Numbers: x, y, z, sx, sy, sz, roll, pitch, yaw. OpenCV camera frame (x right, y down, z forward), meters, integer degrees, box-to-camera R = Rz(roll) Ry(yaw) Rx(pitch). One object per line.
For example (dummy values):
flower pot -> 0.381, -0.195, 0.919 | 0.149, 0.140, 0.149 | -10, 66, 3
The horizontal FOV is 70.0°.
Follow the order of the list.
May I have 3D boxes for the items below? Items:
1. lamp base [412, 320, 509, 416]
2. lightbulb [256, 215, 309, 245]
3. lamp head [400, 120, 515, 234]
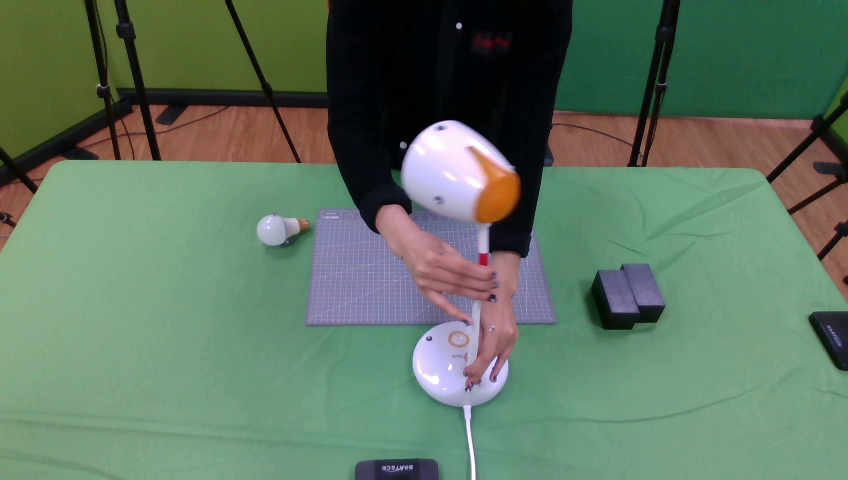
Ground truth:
lamp base -> 0.066, 0.159, 0.940 | 0.161, 0.181, 0.178 | -6, 51, -9
lightbulb -> -0.274, -0.024, 1.183 | 0.108, 0.060, 0.059 | -13, 46, -37
lamp head -> 0.048, -0.066, 0.714 | 0.112, 0.113, 0.122 | -26, 47, -26
